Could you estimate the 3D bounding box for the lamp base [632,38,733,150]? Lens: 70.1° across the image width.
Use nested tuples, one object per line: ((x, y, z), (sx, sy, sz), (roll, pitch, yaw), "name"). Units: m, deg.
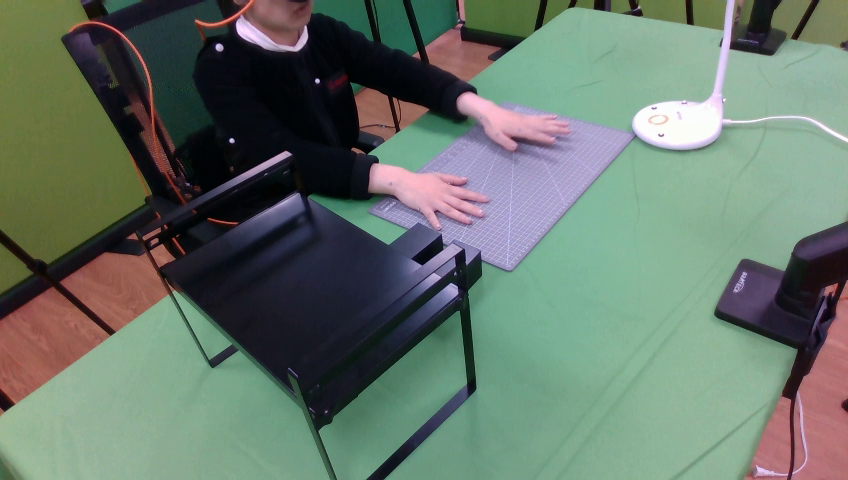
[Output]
((0.486, -0.280, 1.108), (0.179, 0.181, 0.159), (-5, 41, -1), "lamp base")
